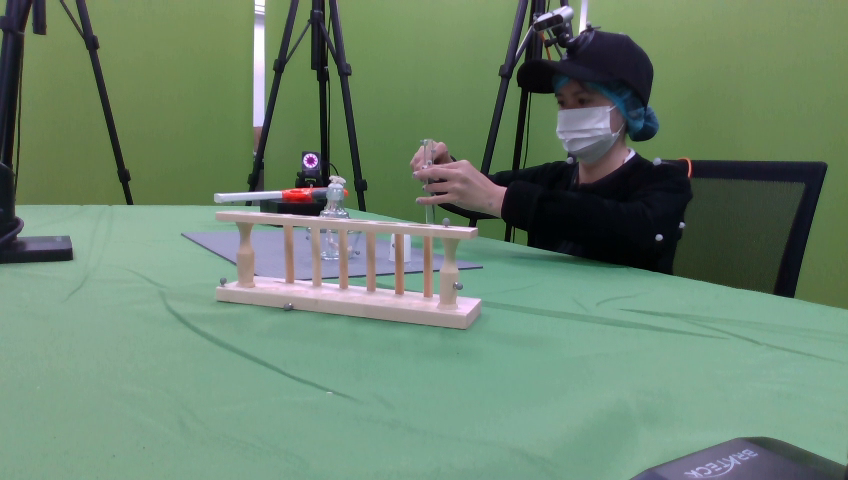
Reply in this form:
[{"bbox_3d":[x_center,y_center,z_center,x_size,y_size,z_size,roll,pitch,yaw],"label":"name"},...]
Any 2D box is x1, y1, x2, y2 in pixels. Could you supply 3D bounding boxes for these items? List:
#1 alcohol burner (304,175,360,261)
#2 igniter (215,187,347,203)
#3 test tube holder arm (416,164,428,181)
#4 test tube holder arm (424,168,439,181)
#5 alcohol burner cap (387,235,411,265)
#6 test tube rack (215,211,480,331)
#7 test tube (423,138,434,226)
[{"bbox_3d":[-0.126,-0.031,0.838,0.078,0.119,0.078,3,5,0],"label":"alcohol burner"},{"bbox_3d":[-0.293,-0.095,1.267,0.278,0.025,0.057,-6,12,-34],"label":"igniter"},{"bbox_3d":[-0.004,-0.123,1.082,0.013,0.015,0.178,6,12,-7],"label":"test tube holder arm"},{"bbox_3d":[0.009,-0.113,1.040,0.010,0.015,0.087,3,12,-16],"label":"test tube holder arm"},{"bbox_3d":[-0.035,0.009,0.839,0.034,0.048,0.034,2,6,0],"label":"alcohol burner cap"},{"bbox_3d":[-0.071,0.022,0.565,0.242,0.085,0.067,5,7,16],"label":"test tube rack"},{"bbox_3d":[0.009,-0.097,1.022,0.017,0.150,0.017,-1,15,1],"label":"test tube"}]
